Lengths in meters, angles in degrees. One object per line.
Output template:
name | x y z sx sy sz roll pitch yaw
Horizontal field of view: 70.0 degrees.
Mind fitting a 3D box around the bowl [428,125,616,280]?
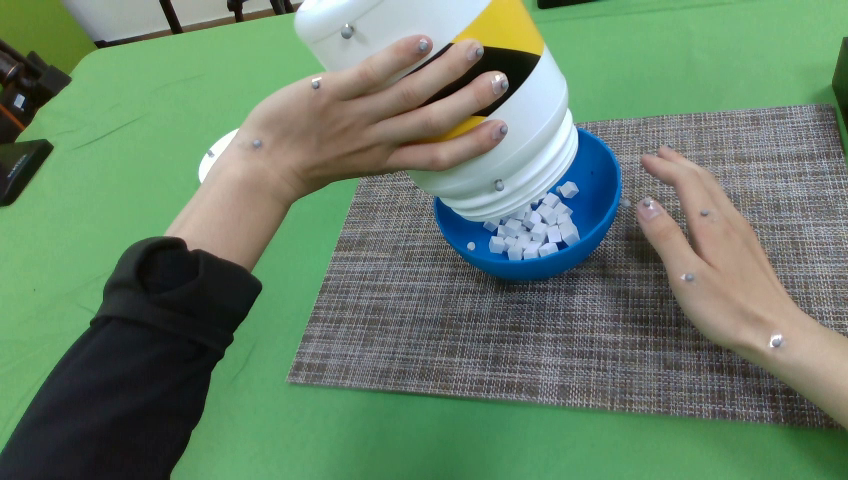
bowl | 0.086 -0.020 0.509 0.151 0.077 0.150 -10 51 13

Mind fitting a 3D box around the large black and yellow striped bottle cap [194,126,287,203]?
large black and yellow striped bottle cap | -0.222 -0.093 0.732 0.115 0.019 0.114 -10 51 12

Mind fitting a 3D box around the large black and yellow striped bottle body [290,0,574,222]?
large black and yellow striped bottle body | 0.015 -0.112 0.419 0.130 0.186 0.129 -29 31 20
